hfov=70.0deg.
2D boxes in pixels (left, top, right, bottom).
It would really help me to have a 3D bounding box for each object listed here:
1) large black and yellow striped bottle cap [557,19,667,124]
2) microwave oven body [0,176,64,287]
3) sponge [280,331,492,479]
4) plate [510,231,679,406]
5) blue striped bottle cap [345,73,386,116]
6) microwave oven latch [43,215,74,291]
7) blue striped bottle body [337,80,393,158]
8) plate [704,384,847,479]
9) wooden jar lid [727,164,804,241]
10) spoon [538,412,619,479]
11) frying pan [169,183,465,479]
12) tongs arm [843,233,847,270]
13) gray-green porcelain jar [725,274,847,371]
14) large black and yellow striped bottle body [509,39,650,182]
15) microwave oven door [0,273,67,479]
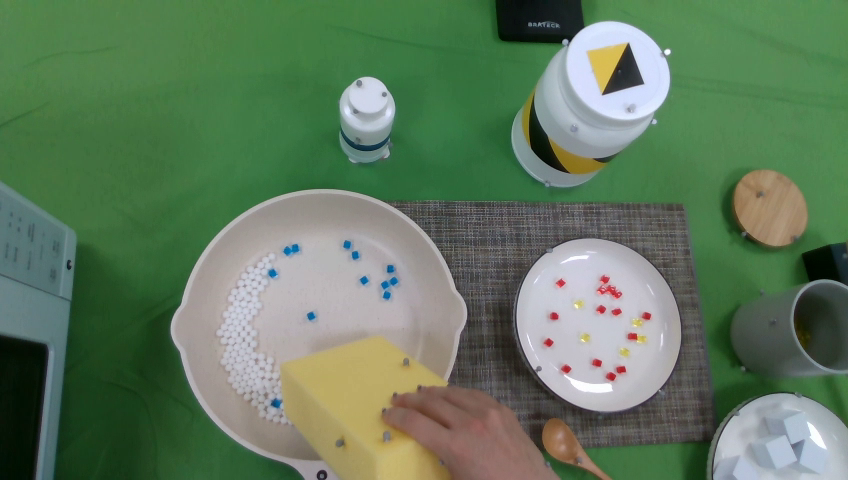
[{"bbox_3d":[0.197,-0.178,0.635,0.115,0.019,0.114,2,75,-8],"label":"large black and yellow striped bottle cap"},{"bbox_3d":[-0.520,0.162,0.487,0.327,0.260,0.439,0,77,-9],"label":"microwave oven body"},{"bbox_3d":[-0.045,0.160,0.584,0.119,0.205,0.061,-10,108,-33],"label":"sponge"},{"bbox_3d":[0.202,0.093,0.732,0.209,0.038,0.208,2,77,-8],"label":"plate"},{"bbox_3d":[-0.063,-0.158,0.657,0.044,0.021,0.044,2,74,-6],"label":"blue striped bottle cap"},{"bbox_3d":[-0.393,0.014,0.642,0.030,0.029,0.079,3,77,-9],"label":"microwave oven latch"},{"bbox_3d":[-0.070,-0.146,0.707,0.063,0.121,0.063,2,76,-8],"label":"blue striped bottle body"},{"bbox_3d":[0.430,0.279,0.728,0.208,0.039,0.206,2,76,-8],"label":"plate"},{"bbox_3d":[0.458,-0.049,0.819,0.108,0.021,0.108,2,78,-8],"label":"wooden jar lid"},{"bbox_3d":[0.205,0.269,0.701,0.193,0.022,0.041,40,57,1],"label":"spoon"},{"bbox_3d":[-0.104,0.181,0.630,0.307,0.103,0.484,-1,69,-7],"label":"frying pan"},{"bbox_3d":[0.568,0.179,0.744,0.051,0.026,0.384,-5,88,-12],"label":"tongs arm"},{"bbox_3d":[0.437,0.103,0.725,0.106,0.127,0.105,2,76,-8],"label":"gray-green porcelain jar"},{"bbox_3d":[0.185,-0.158,0.718,0.131,0.184,0.130,2,76,-8],"label":"large black and yellow striped bottle body"},{"bbox_3d":[-0.374,0.203,0.495,0.039,0.244,0.354,0,76,-9],"label":"microwave oven door"}]
